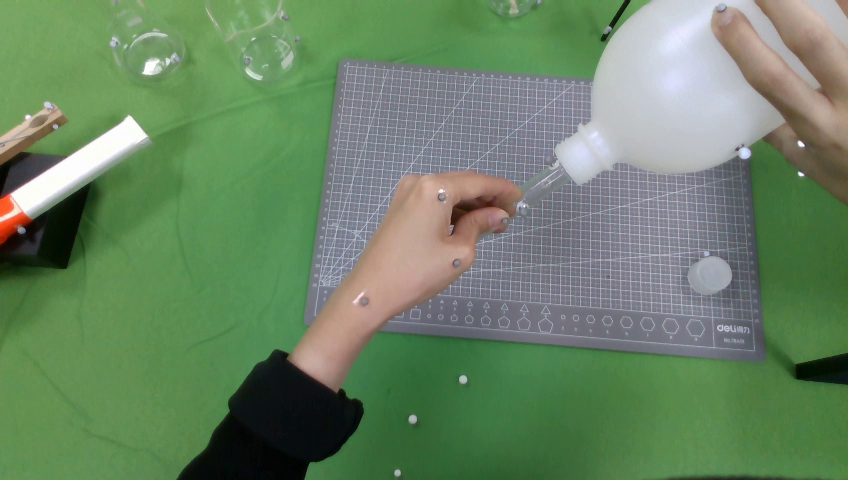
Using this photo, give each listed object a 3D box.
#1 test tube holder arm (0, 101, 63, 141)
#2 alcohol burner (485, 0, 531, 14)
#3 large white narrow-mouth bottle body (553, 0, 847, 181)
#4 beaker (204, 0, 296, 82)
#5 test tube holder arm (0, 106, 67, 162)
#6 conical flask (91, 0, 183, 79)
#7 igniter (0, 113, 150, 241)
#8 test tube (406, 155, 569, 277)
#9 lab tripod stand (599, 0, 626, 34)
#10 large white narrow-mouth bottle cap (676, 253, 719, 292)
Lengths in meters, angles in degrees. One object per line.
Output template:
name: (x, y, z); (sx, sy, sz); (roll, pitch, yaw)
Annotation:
test tube holder arm: (-0.421, -0.073, 0.568); (0.178, 0.015, 0.013); (-39, 78, -13)
alcohol burner: (0.098, -0.304, 0.653); (0.078, 0.119, 0.077); (1, 71, -2)
large white narrow-mouth bottle body: (0.160, -0.099, 0.340); (0.194, 0.102, 0.101); (-36, 74, 21)
beaker: (-0.176, -0.216, 0.626); (0.074, 0.101, 0.083); (19, 74, 5)
test tube holder arm: (-0.383, -0.097, 0.577); (0.088, 0.015, 0.010); (-38, 77, -12)
conical flask: (-0.302, -0.225, 0.613); (0.075, 0.122, 0.075); (0, 72, -1)
igniter: (-0.379, -0.027, 0.553); (0.276, 0.025, 0.057); (-39, 80, -15)
test tube: (0.040, -0.012, 0.422); (0.150, 0.017, 0.017); (-36, 71, 33)
lab tripod stand: (0.267, -0.288, 0.642); (0.148, 0.132, 0.147); (1, 72, -3)
large white narrow-mouth bottle cap: (0.272, 0.033, 0.602); (0.038, 0.024, 0.037); (0, 74, -1)
